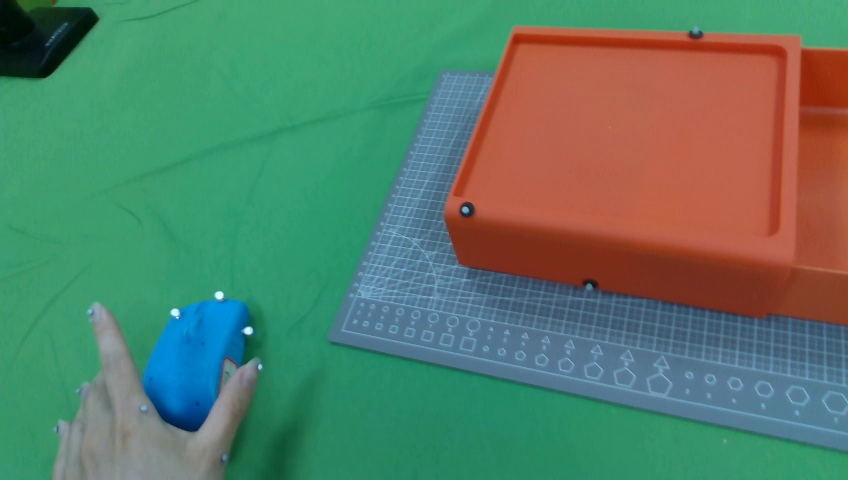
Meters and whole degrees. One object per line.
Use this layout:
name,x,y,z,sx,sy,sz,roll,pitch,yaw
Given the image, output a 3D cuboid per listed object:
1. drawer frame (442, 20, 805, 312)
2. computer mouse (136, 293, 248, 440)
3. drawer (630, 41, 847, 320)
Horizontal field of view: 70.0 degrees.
drawer frame,0.147,-0.065,0.443,0.212,0.083,0.200,8,60,20
computer mouse,-0.171,0.089,0.450,0.063,0.041,0.116,-9,52,11
drawer,0.254,-0.049,0.407,0.211,0.074,0.193,9,61,18
